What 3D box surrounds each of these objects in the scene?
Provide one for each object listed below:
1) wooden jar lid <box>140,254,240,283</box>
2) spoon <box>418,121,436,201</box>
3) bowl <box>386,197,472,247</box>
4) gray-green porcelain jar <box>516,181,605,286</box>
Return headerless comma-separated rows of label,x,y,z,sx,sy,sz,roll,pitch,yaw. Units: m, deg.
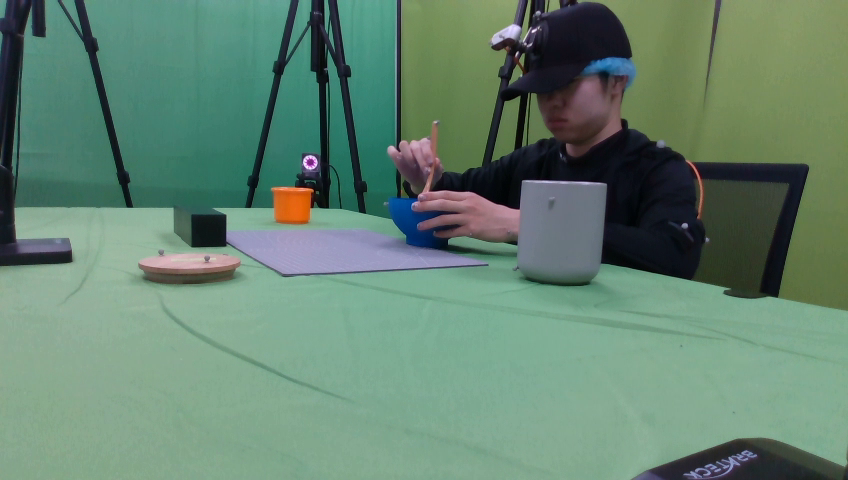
wooden jar lid,-0.269,0.032,0.698,0.108,0.020,0.108,2,5,0
spoon,0.006,-0.113,1.047,0.022,0.193,0.041,13,-9,-20
bowl,0.006,-0.031,1.051,0.151,0.077,0.151,5,5,0
gray-green porcelain jar,0.172,-0.010,0.768,0.106,0.126,0.106,2,7,0
